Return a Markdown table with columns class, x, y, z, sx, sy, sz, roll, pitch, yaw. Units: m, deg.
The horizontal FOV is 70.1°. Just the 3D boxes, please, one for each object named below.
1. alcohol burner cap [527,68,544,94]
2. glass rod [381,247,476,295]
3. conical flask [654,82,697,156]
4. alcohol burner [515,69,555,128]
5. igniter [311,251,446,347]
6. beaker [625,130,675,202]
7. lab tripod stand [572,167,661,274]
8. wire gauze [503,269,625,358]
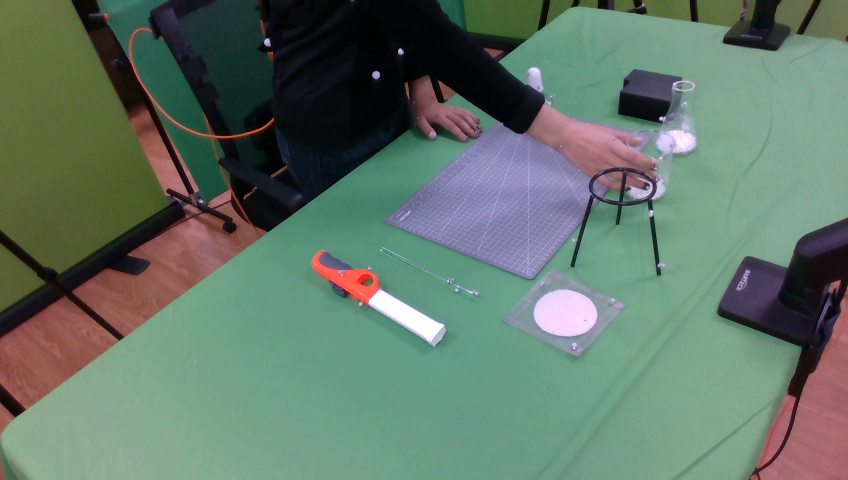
| class | x | y | z | sx | sy | sz | roll | pitch | yaw |
| --- | --- | --- | --- | --- | --- | --- | --- | --- | --- |
| alcohol burner cap | 0.216 | -0.312 | 1.179 | 0.034 | 0.048 | 0.033 | -9 | 40 | 8 |
| glass rod | 0.003 | 0.046 | 0.939 | 0.198 | 0.008 | 0.008 | 24 | 51 | 36 |
| conical flask | 0.454 | -0.218 | 1.076 | 0.075 | 0.122 | 0.075 | -5 | 40 | 5 |
| alcohol burner | 0.221 | -0.285 | 1.203 | 0.078 | 0.119 | 0.077 | -4 | 39 | 4 |
| igniter | -0.078 | 0.081 | 0.899 | 0.274 | 0.025 | 0.057 | 27 | 62 | 36 |
| beaker | 0.368 | -0.117 | 0.993 | 0.074 | 0.101 | 0.083 | -6 | 41 | 6 |
| lab tripod stand | 0.284 | -0.030 | 0.879 | 0.148 | 0.132 | 0.147 | -7 | 38 | 6 |
| wire gauze | 0.194 | 0.100 | 0.840 | 0.120 | 0.011 | 0.125 | 27 | 54 | 36 |
